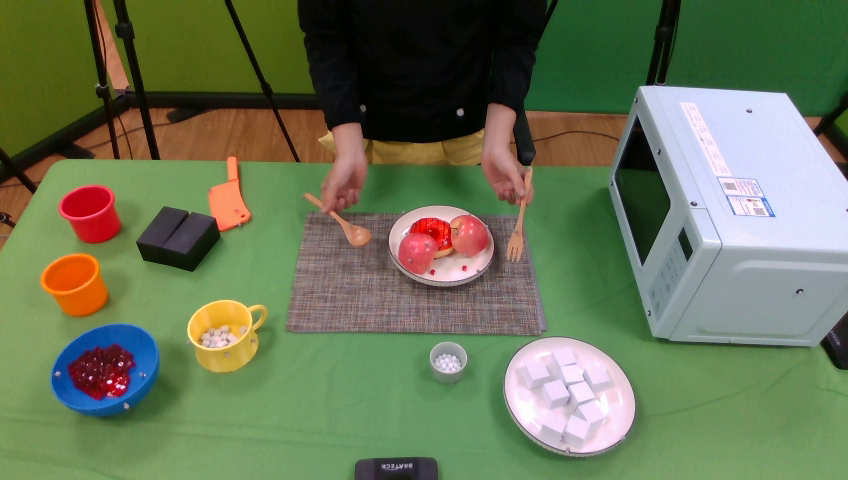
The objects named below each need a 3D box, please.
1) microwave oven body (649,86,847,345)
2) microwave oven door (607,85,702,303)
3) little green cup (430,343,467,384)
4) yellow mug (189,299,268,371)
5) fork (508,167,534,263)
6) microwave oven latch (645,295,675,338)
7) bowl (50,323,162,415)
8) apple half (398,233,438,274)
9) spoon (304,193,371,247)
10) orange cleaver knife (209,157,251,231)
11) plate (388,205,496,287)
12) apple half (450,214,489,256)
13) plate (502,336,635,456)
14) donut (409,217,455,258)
[{"bbox_3d":[0.568,-0.053,1.118,0.326,0.261,0.439,2,45,-1],"label":"microwave oven body"},{"bbox_3d":[0.423,-0.094,1.141,0.039,0.245,0.353,2,46,-1],"label":"microwave oven door"},{"bbox_3d":[0.039,0.203,0.993,0.061,0.039,0.061,2,46,-2],"label":"little green cup"},{"bbox_3d":[-0.316,0.148,1.002,0.131,0.064,0.099,-33,56,-31],"label":"yellow mug"},{"bbox_3d":[0.189,-0.051,1.160,0.028,0.019,0.206,10,72,12],"label":"fork"},{"bbox_3d":[0.412,0.134,1.061,0.030,0.029,0.078,3,45,0],"label":"microwave oven latch"},{"bbox_3d":[-0.472,0.209,0.924,0.151,0.077,0.150,3,45,-2],"label":"bowl"},{"bbox_3d":[-0.016,0.022,1.123,0.081,0.033,0.081,-2,83,14],"label":"apple half"},{"bbox_3d":[-0.171,-0.043,1.170,0.041,0.022,0.193,-42,62,-18],"label":"spoon"},{"bbox_3d":[-0.409,-0.099,1.266,0.077,0.012,0.210,-14,50,-10],"label":"orange cleaver knife"},{"bbox_3d":[0.033,0.014,1.171,0.209,0.038,0.208,3,46,-2],"label":"plate"},{"bbox_3d":[0.092,-0.013,1.158,0.075,0.053,0.080,34,39,-28],"label":"apple half"},{"bbox_3d":[0.225,0.248,0.964,0.208,0.039,0.206,2,46,-2],"label":"plate"},{"bbox_3d":[0.019,-0.006,1.174,0.099,0.048,0.098,3,44,-2],"label":"donut"}]
